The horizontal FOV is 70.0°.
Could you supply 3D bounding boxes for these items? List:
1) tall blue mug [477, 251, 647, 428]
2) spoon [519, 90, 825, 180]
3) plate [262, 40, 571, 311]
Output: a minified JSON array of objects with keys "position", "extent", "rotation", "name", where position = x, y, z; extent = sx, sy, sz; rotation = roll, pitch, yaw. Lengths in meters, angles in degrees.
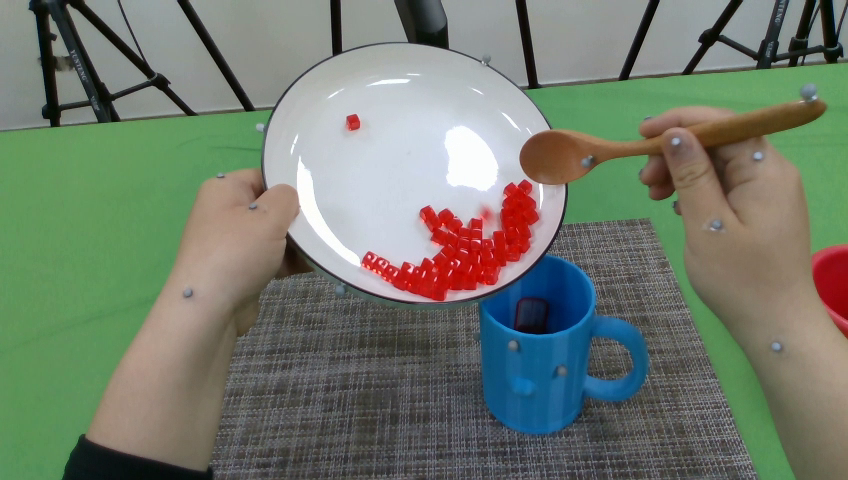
[{"position":[0.093,0.069,0.429],"extent":[0.107,0.109,0.077],"rotation":[-8,41,-1],"name":"tall blue mug"},{"position":[0.122,-0.056,0.342],"extent":[0.021,0.042,0.192],"rotation":[-43,20,-21],"name":"spoon"},{"position":[-0.003,-0.047,0.419],"extent":[0.208,0.039,0.206],"rotation":[4,64,-9],"name":"plate"}]
